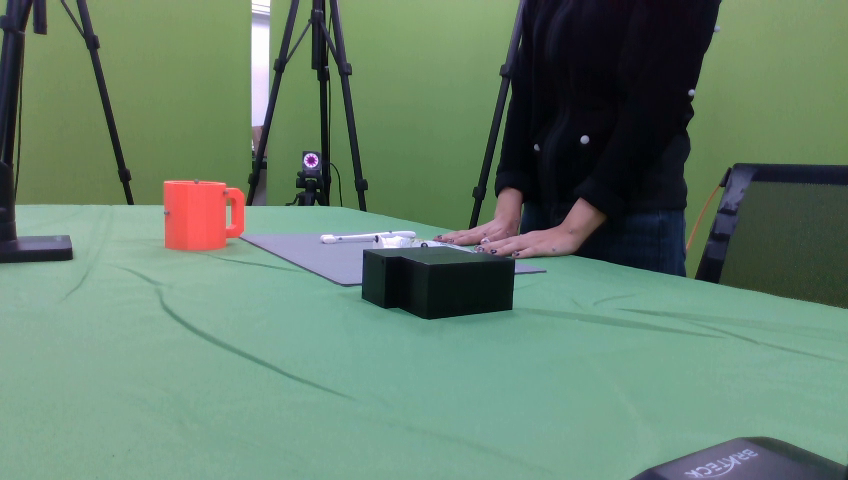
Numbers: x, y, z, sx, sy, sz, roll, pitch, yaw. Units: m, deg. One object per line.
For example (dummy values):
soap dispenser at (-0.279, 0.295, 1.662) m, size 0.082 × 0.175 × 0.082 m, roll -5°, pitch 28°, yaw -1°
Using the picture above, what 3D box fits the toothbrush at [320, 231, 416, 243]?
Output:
toothbrush at (-0.089, -0.006, 1.025) m, size 0.183 × 0.014 × 0.016 m, roll -3°, pitch 12°, yaw -34°

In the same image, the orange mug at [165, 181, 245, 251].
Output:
orange mug at (-0.326, -0.040, 0.911) m, size 0.083 × 0.101 × 0.127 m, roll 8°, pitch 14°, yaw 37°

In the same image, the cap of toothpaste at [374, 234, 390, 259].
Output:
cap of toothpaste at (-0.058, 0.009, 0.825) m, size 0.011 × 0.037 × 0.037 m, roll -4°, pitch 9°, yaw -30°

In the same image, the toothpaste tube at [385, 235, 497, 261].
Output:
toothpaste tube at (0.020, 0.014, 0.852) m, size 0.166 × 0.034 × 0.055 m, roll 4°, pitch 13°, yaw -20°
